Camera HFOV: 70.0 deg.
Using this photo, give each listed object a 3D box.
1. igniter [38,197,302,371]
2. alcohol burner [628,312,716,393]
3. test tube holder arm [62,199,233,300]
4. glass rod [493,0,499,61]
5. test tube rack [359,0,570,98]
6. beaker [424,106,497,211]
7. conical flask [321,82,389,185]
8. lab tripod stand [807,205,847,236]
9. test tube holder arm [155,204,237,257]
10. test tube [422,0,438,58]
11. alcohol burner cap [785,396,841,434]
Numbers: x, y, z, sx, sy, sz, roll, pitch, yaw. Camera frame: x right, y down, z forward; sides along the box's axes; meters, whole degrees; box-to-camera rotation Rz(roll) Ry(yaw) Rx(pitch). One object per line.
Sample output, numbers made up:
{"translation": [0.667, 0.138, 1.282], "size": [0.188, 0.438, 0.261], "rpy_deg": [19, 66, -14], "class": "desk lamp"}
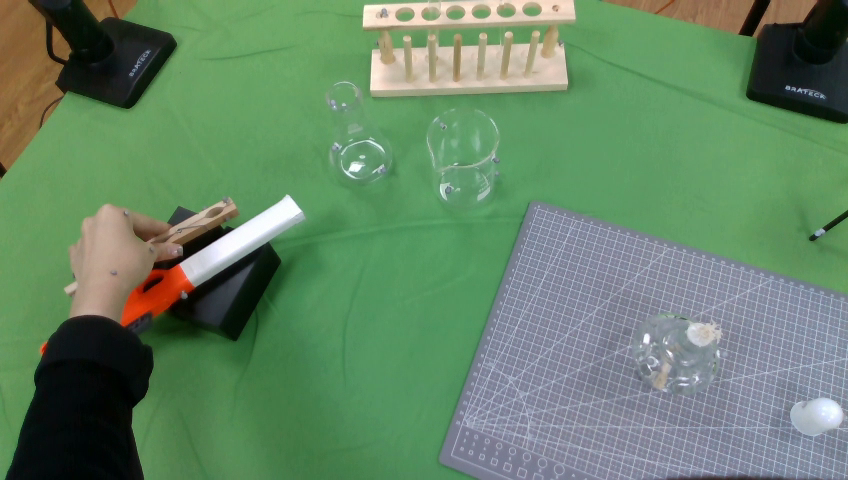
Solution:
{"translation": [-0.247, 0.042, 0.600], "size": [0.276, 0.025, 0.056], "rpy_deg": [-34, 58, -13], "class": "igniter"}
{"translation": [0.230, 0.097, 0.549], "size": [0.078, 0.120, 0.077], "rpy_deg": [0, 64, 1], "class": "alcohol burner"}
{"translation": [-0.274, 0.009, 0.611], "size": [0.178, 0.015, 0.013], "rpy_deg": [-31, 67, -14], "class": "test tube holder arm"}
{"translation": [0.079, -0.280, 0.678], "size": [0.008, 0.201, 0.008], "rpy_deg": [-3, 57, 6], "class": "glass rod"}
{"translation": [0.048, -0.228, 0.729], "size": [0.242, 0.086, 0.066], "rpy_deg": [-2, 65, 2], "class": "test tube rack"}
{"translation": [0.037, -0.081, 0.654], "size": [0.073, 0.101, 0.084], "rpy_deg": [33, 71, 17], "class": "beaker"}
{"translation": [-0.082, -0.120, 0.666], "size": [0.075, 0.123, 0.074], "rpy_deg": [-1, 64, 3], "class": "conical flask"}
{"translation": [0.480, -0.047, 0.595], "size": [0.148, 0.132, 0.147], "rpy_deg": [0, 64, 1], "class": "lab tripod stand"}
{"translation": [-0.233, -0.009, 0.619], "size": [0.088, 0.015, 0.010], "rpy_deg": [-30, 66, -13], "class": "test tube holder arm"}
{"translation": [0.007, -0.264, 0.693], "size": [0.017, 0.151, 0.017], "rpy_deg": [1, 63, -1], "class": "test tube"}
{"translation": [0.358, 0.158, 0.554], "size": [0.034, 0.048, 0.033], "rpy_deg": [-1, 65, 2], "class": "alcohol burner cap"}
